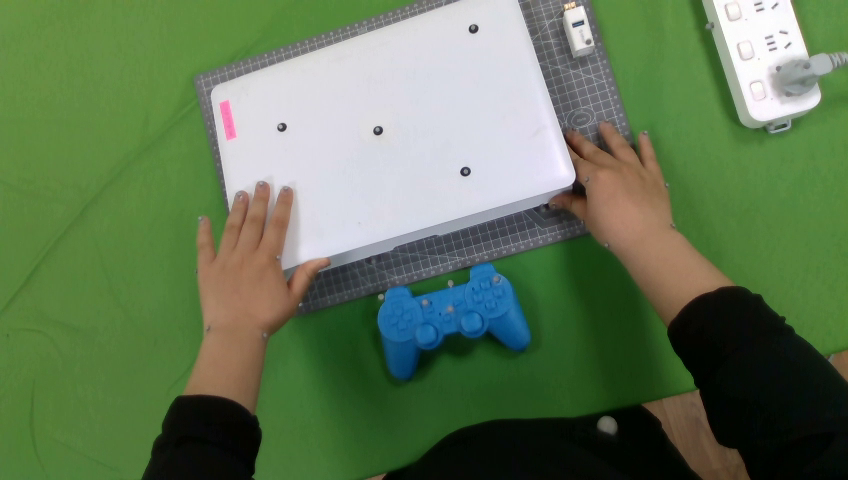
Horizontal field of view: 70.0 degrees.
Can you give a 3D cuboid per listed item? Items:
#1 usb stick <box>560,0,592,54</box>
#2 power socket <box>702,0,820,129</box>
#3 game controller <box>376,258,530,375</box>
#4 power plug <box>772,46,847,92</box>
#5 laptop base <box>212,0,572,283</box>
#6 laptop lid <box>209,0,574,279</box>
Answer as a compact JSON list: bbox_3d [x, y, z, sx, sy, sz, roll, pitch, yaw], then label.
[{"bbox_3d":[0.157,-0.228,0.635,0.021,0.027,0.059,-16,83,10],"label":"usb stick"},{"bbox_3d":[0.329,-0.224,0.610,0.072,0.033,0.226,-15,85,8],"label":"power socket"},{"bbox_3d":[0.025,0.079,0.629,0.155,0.052,0.096,-15,80,7],"label":"game controller"},{"bbox_3d":[0.374,-0.162,0.581,0.072,0.053,0.035,-4,85,3],"label":"power plug"},{"bbox_3d":[-0.042,-0.112,0.662,0.354,0.023,0.235,-17,88,6],"label":"laptop base"},{"bbox_3d":[-0.048,-0.115,0.629,0.356,0.013,0.240,-15,75,7],"label":"laptop lid"}]
